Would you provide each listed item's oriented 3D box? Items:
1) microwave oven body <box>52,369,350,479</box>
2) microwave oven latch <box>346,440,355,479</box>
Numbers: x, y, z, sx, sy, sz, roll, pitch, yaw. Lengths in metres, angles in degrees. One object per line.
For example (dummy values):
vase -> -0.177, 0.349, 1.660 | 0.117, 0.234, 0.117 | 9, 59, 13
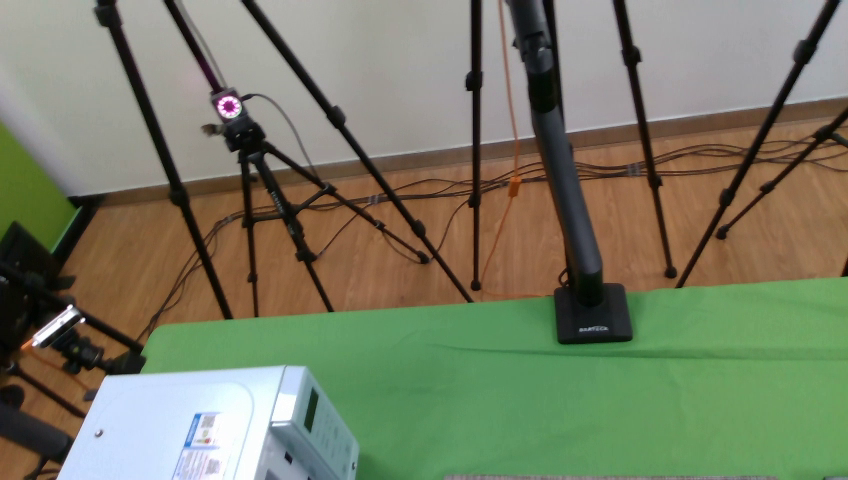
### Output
microwave oven body -> -0.300, 0.419, 0.749 | 0.325, 0.263, 0.437 | -6, 47, 11
microwave oven latch -> -0.122, 0.341, 0.907 | 0.030, 0.030, 0.078 | -5, 47, 11
